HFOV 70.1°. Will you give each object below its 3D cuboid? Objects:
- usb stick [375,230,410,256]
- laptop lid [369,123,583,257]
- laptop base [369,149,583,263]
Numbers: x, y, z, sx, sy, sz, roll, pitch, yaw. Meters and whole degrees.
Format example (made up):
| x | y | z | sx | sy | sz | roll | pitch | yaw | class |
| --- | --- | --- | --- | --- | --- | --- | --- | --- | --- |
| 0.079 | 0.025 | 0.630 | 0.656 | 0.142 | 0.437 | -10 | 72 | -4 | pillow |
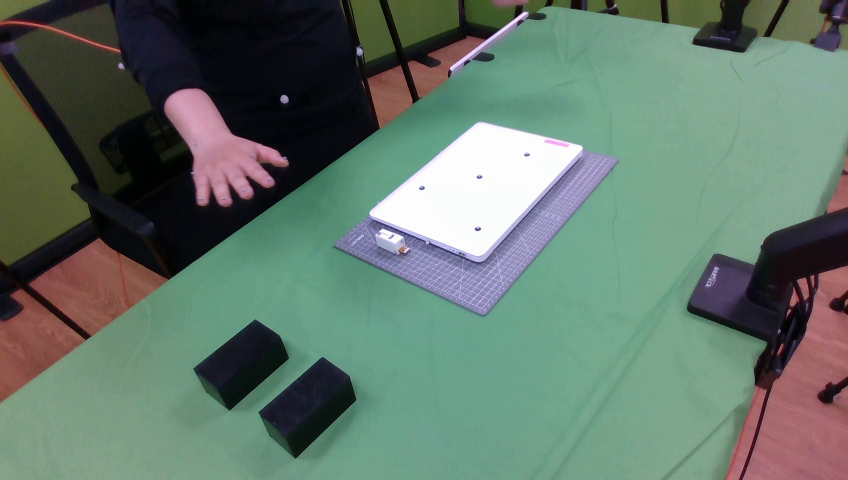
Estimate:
| x | y | z | sx | sy | sz | roll | pitch | yaw | class |
| --- | --- | --- | --- | --- | --- | --- | --- | --- | --- |
| -0.049 | 0.007 | 0.962 | 0.059 | 0.027 | 0.021 | 24 | 46 | 28 | usb stick |
| 0.097 | -0.106 | 1.065 | 0.239 | 0.013 | 0.358 | 22 | 48 | 33 | laptop lid |
| 0.101 | -0.096 | 1.071 | 0.233 | 0.023 | 0.355 | 20 | 47 | 33 | laptop base |
